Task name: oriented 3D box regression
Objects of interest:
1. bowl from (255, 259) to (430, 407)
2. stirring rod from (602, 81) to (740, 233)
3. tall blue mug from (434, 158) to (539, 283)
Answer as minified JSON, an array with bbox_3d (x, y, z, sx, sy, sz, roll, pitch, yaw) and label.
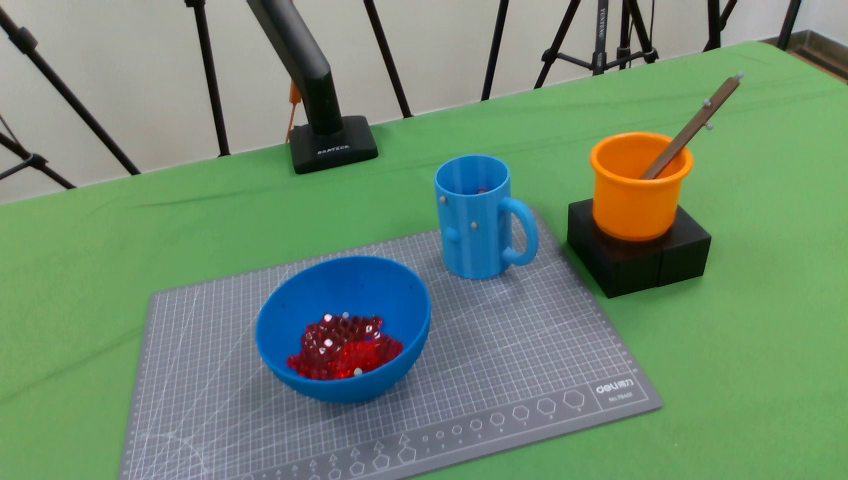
[{"bbox_3d":[-0.065,0.094,0.536,0.151,0.077,0.150,-5,39,4],"label":"bowl"},{"bbox_3d":[0.231,-0.077,0.573,0.176,0.006,0.014,-51,38,14],"label":"stirring rod"},{"bbox_3d":[0.068,-0.018,0.627,0.107,0.109,0.077,4,40,15],"label":"tall blue mug"}]
